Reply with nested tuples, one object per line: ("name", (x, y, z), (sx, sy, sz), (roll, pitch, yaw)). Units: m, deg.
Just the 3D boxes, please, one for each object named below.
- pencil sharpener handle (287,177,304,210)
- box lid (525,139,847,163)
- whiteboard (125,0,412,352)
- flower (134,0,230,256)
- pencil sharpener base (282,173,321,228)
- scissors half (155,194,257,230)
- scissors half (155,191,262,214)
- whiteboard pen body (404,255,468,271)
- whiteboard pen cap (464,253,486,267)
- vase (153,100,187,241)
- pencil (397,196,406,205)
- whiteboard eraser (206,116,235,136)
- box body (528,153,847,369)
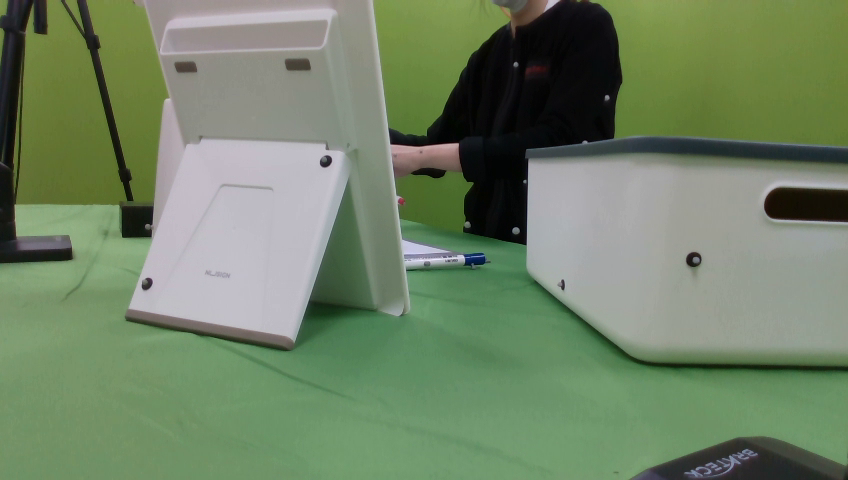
("pencil sharpener handle", (-0.269, -0.096, 1.257), (0.036, 0.067, 0.030), (-7, 8, -27))
("box lid", (0.261, -0.078, 0.580), (0.264, 0.015, 0.371), (2, 7, -4))
("whiteboard", (-0.151, -0.049, 0.472), (0.216, 0.305, 0.144), (6, 27, 24))
("flower", (-0.282, -0.147, 0.713), (0.038, 0.362, 0.044), (-23, 24, -31))
("pencil sharpener base", (-0.247, -0.080, 1.212), (0.061, 0.107, 0.076), (-2, 5, -28))
("scissors half", (-0.378, -0.051, 1.058), (0.176, 0.040, 0.012), (20, 22, -31))
("scissors half", (-0.371, -0.069, 1.051), (0.176, 0.040, 0.013), (2, 25, -24))
("whiteboard pen body", (0.013, 0.030, 0.792), (0.141, 0.017, 0.017), (-3, 9, -24))
("whiteboard pen cap", (0.066, 0.027, 0.818), (0.033, 0.018, 0.018), (-6, 10, -24))
("vase", (-0.278, -0.066, 0.736), (0.098, 0.200, 0.098), (2, 9, 0))
("pencil", (-0.094, -0.091, 1.051), (0.012, 0.012, 0.193), (-4, 21, -41))
("whiteboard eraser", (-0.450, -0.252, 1.335), (0.056, 0.042, 0.112), (1, 7, -22))
("box body", (0.258, -0.005, 0.591), (0.254, 0.160, 0.363), (2, 7, -4))
